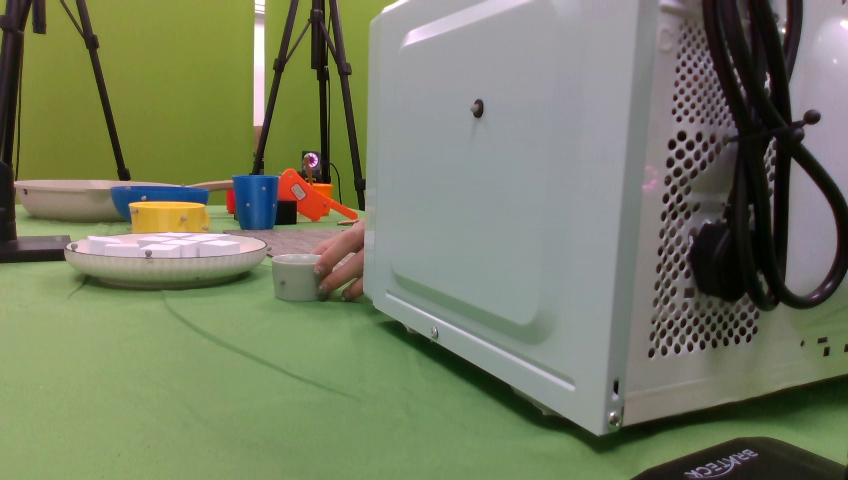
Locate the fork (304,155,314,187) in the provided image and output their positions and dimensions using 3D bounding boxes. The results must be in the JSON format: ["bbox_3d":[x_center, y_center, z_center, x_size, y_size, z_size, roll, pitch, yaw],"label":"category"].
[{"bbox_3d":[-0.268,-0.134,1.446,0.028,0.018,0.207,2,-36,-1],"label":"fork"}]

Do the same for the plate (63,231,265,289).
[{"bbox_3d":[-0.288,0.021,0.687,0.208,0.039,0.207,2,8,0],"label":"plate"}]

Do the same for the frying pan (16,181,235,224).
[{"bbox_3d":[-0.553,-0.097,1.266,0.490,0.102,0.305,-10,13,-24],"label":"frying pan"}]

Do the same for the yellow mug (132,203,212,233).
[{"bbox_3d":[-0.356,-0.020,0.878,0.099,0.064,0.131,4,7,22],"label":"yellow mug"}]

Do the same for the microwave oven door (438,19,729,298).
[{"bbox_3d":[0.181,-0.076,0.618,0.358,0.243,0.039,-2,8,-28],"label":"microwave oven door"}]

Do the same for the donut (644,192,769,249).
[{"bbox_3d":[0.239,-0.017,0.518,0.099,0.048,0.099,2,4,0],"label":"donut"}]

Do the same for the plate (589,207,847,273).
[{"bbox_3d":[0.246,-0.002,0.510,0.209,0.038,0.209,3,6,0],"label":"plate"}]

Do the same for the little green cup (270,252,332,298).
[{"bbox_3d":[-0.122,0.034,0.605,0.061,0.038,0.061,1,6,0],"label":"little green cup"}]

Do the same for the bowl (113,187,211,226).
[{"bbox_3d":[-0.436,-0.046,1.013,0.151,0.077,0.151,2,7,0],"label":"bowl"}]

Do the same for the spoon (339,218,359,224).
[{"bbox_3d":[-0.087,-0.041,1.268,0.193,0.021,0.041,4,20,13],"label":"spoon"}]

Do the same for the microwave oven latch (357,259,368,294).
[{"bbox_3d":[-0.019,0.031,0.530,0.079,0.029,0.030,-1,7,-27],"label":"microwave oven latch"}]

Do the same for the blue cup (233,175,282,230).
[{"bbox_3d":[-0.314,-0.071,1.141,0.093,0.100,0.092,0,7,0],"label":"blue cup"}]

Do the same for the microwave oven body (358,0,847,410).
[{"bbox_3d":[0.210,-0.051,0.471,0.444,0.260,0.324,-1,7,-28],"label":"microwave oven body"}]

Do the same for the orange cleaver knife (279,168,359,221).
[{"bbox_3d":[-0.236,-0.084,1.333,0.212,0.077,0.012,31,-9,-31],"label":"orange cleaver knife"}]
